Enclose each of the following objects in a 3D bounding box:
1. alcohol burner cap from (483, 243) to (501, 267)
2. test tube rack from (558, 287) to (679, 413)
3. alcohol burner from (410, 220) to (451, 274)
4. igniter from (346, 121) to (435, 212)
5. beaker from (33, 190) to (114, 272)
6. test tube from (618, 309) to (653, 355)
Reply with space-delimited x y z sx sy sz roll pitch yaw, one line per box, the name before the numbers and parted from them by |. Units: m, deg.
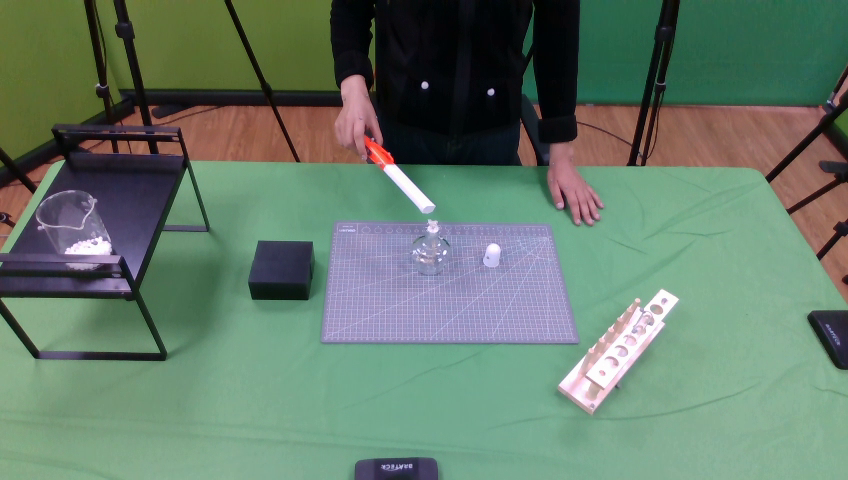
alcohol burner cap | 0.132 0.025 1.161 0.034 0.048 0.033 3 47 -3
test tube rack | 0.326 0.170 1.009 0.066 0.085 0.242 36 54 26
alcohol burner | 0.013 0.007 1.120 0.078 0.120 0.077 1 48 -1
igniter | -0.071 -0.146 1.155 0.057 0.025 0.275 -5 44 -47
beaker | -0.493 -0.009 0.865 0.083 0.101 0.074 37 55 27
test tube | 0.329 0.155 0.956 0.017 0.151 0.017 2 51 -2
